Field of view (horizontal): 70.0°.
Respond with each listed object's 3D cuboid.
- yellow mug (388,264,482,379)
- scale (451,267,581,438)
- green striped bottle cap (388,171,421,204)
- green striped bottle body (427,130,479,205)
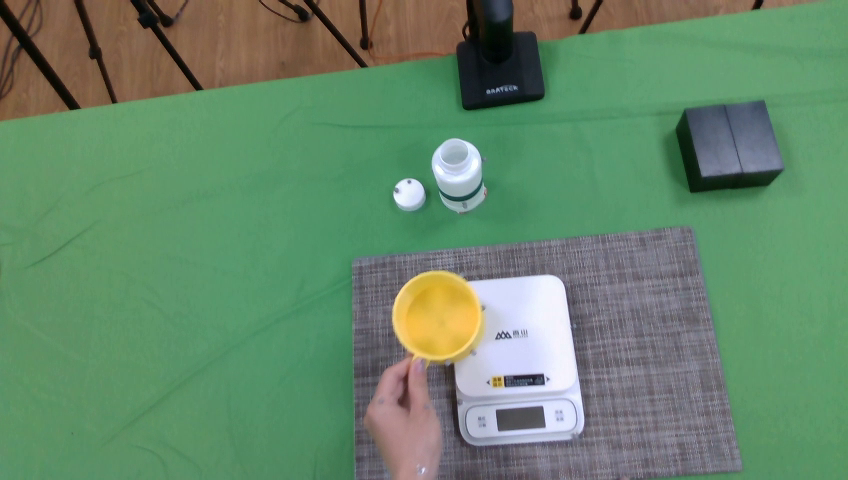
[{"bbox_3d":[0.008,0.096,0.688,0.099,0.064,0.130,22,81,13],"label":"yellow mug"},{"bbox_3d":[0.107,0.135,0.746,0.148,0.032,0.199,-6,72,6],"label":"scale"},{"bbox_3d":[-0.027,-0.074,0.846,0.044,0.020,0.044,-1,77,6],"label":"green striped bottle cap"},{"bbox_3d":[0.038,-0.097,0.789,0.063,0.120,0.063,-2,70,7],"label":"green striped bottle body"}]
